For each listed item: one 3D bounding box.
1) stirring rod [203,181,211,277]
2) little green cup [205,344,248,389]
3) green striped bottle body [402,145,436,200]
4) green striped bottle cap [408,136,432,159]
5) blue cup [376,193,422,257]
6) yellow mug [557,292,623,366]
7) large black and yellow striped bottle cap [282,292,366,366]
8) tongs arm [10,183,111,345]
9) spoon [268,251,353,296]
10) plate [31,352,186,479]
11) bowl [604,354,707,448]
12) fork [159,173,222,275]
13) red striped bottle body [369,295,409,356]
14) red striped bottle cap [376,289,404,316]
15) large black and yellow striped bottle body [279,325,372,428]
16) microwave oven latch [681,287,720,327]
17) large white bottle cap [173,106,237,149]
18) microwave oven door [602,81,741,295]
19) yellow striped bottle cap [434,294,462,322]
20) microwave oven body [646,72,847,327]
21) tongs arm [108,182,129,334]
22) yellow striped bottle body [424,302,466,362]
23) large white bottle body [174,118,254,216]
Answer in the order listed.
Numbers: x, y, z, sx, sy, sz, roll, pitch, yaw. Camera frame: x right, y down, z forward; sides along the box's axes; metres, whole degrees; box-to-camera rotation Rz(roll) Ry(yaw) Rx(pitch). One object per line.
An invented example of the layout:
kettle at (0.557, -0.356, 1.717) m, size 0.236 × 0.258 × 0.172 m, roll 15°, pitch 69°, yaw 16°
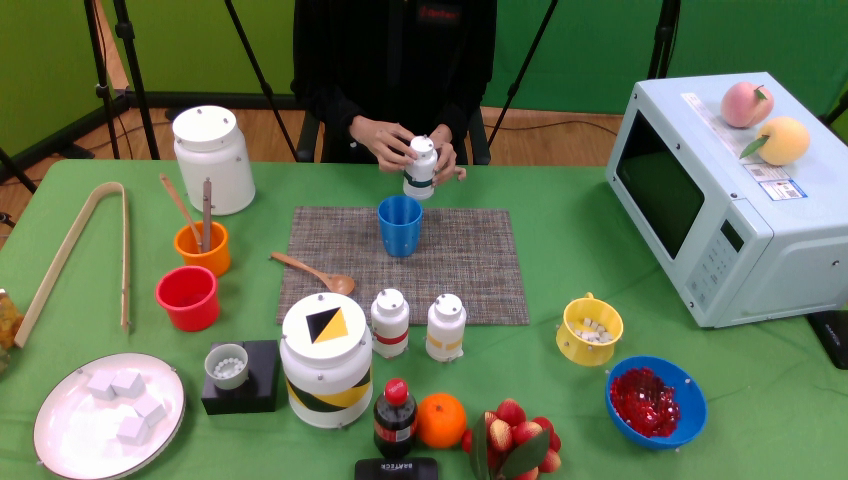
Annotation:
stirring rod at (-0.396, -0.021, 1.108) m, size 0.014 × 0.006 × 0.176 m, roll -1°, pitch 89°, yaw -2°
little green cup at (-0.294, 0.191, 0.909) m, size 0.061 × 0.039 × 0.061 m, roll 1°, pitch 47°, yaw -1°
green striped bottle body at (-0.010, -0.139, 1.163) m, size 0.063 × 0.120 × 0.063 m, roll 2°, pitch 50°, yaw -2°
green striped bottle cap at (-0.006, -0.171, 1.122) m, size 0.044 × 0.020 × 0.044 m, roll 3°, pitch 51°, yaw -4°
blue cup at (-0.047, -0.022, 1.155) m, size 0.093 × 0.101 × 0.092 m, roll 1°, pitch 47°, yaw -1°
yellow mug at (0.285, 0.145, 1.051) m, size 0.100 × 0.064 × 0.130 m, roll 7°, pitch 45°, yaw 4°
large black and yellow striped bottle cap at (-0.138, 0.121, 0.841) m, size 0.115 × 0.019 × 0.114 m, roll 3°, pitch 47°, yaw -3°
tongs arm at (-0.658, 0.027, 1.109) m, size 0.028 × 0.028 × 0.385 m, roll -2°, pitch 45°, yaw 2°
spoon at (-0.212, 0.057, 1.121) m, size 0.193 × 0.022 × 0.041 m, roll 24°, pitch 74°, yaw 18°
plate at (-0.459, 0.262, 0.898) m, size 0.209 × 0.038 × 0.208 m, roll 2°, pitch 46°, yaw -2°
bowl at (0.346, 0.261, 0.937) m, size 0.151 × 0.077 × 0.150 m, roll 2°, pitch 46°, yaw -2°
fork at (-0.427, -0.029, 1.103) m, size 0.028 × 0.018 × 0.207 m, roll -31°, pitch 99°, yaw -30°
red striped bottle body at (-0.059, 0.134, 0.997) m, size 0.063 × 0.120 × 0.062 m, roll 4°, pitch 47°, yaw -5°
red striped bottle cap at (-0.054, 0.098, 0.958) m, size 0.044 × 0.018 × 0.044 m, roll 0°, pitch 48°, yaw 1°
large black and yellow striped bottle body at (-0.143, 0.181, 0.900) m, size 0.131 × 0.185 × 0.130 m, roll 2°, pitch 46°, yaw -2°
microwave oven latch at (0.494, 0.119, 1.087) m, size 0.030 × 0.029 × 0.078 m, roll -5°, pitch 46°, yaw -9°
large white bottle cap at (-0.411, -0.212, 1.138) m, size 0.115 × 0.018 × 0.114 m, roll 2°, pitch 47°, yaw -2°
microwave oven door at (0.456, -0.107, 1.162) m, size 0.039 × 0.245 × 0.353 m, roll -7°, pitch 47°, yaw -11°
yellow striped bottle cap at (0.038, 0.107, 0.958) m, size 0.044 × 0.019 × 0.044 m, roll 2°, pitch 45°, yaw -2°
microwave oven body at (0.607, -0.089, 1.164) m, size 0.326 × 0.261 × 0.438 m, roll -7°, pitch 46°, yaw -10°
tongs arm at (-0.571, 0.019, 1.123) m, size 0.051 × 0.026 × 0.382 m, roll -11°, pitch 47°, yaw -11°
yellow striped bottle body at (0.035, 0.143, 0.995) m, size 0.063 × 0.121 × 0.062 m, roll 3°, pitch 46°, yaw -3°
large white bottle body at (-0.415, -0.154, 1.199) m, size 0.131 × 0.185 × 0.130 m, roll 2°, pitch 46°, yaw -2°
